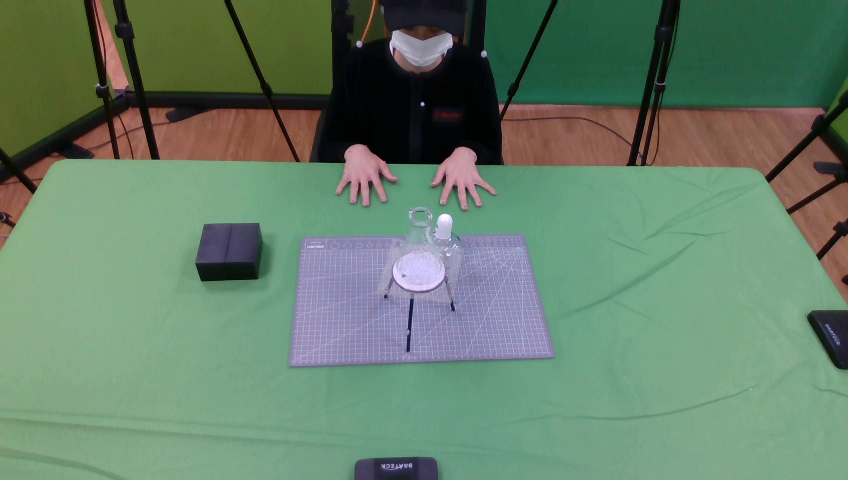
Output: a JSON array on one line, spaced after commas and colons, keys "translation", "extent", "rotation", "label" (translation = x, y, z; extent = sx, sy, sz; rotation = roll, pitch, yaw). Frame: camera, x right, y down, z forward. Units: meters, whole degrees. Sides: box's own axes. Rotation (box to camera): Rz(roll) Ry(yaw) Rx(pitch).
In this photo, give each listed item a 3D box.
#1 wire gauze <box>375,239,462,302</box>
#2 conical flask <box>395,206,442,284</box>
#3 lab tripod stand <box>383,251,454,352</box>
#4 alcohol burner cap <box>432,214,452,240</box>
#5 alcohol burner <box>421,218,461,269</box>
[{"translation": [-0.006, 0.049, 0.978], "extent": [0.121, 0.011, 0.124], "rotation": [10, 44, 5], "label": "wire gauze"}, {"translation": [-0.007, 0.005, 0.937], "extent": [0.075, 0.122, 0.075], "rotation": [2, 45, -1], "label": "conical flask"}, {"translation": [-0.015, 0.094, 1.025], "extent": [0.148, 0.132, 0.147], "rotation": [1, 46, -1], "label": "lab tripod stand"}, {"translation": [0.035, -0.027, 1.110], "extent": [0.034, 0.048, 0.033], "rotation": [7, 42, -6], "label": "alcohol burner cap"}, {"translation": [0.033, -0.001, 1.135], "extent": [0.078, 0.119, 0.077], "rotation": [3, 48, -3], "label": "alcohol burner"}]
